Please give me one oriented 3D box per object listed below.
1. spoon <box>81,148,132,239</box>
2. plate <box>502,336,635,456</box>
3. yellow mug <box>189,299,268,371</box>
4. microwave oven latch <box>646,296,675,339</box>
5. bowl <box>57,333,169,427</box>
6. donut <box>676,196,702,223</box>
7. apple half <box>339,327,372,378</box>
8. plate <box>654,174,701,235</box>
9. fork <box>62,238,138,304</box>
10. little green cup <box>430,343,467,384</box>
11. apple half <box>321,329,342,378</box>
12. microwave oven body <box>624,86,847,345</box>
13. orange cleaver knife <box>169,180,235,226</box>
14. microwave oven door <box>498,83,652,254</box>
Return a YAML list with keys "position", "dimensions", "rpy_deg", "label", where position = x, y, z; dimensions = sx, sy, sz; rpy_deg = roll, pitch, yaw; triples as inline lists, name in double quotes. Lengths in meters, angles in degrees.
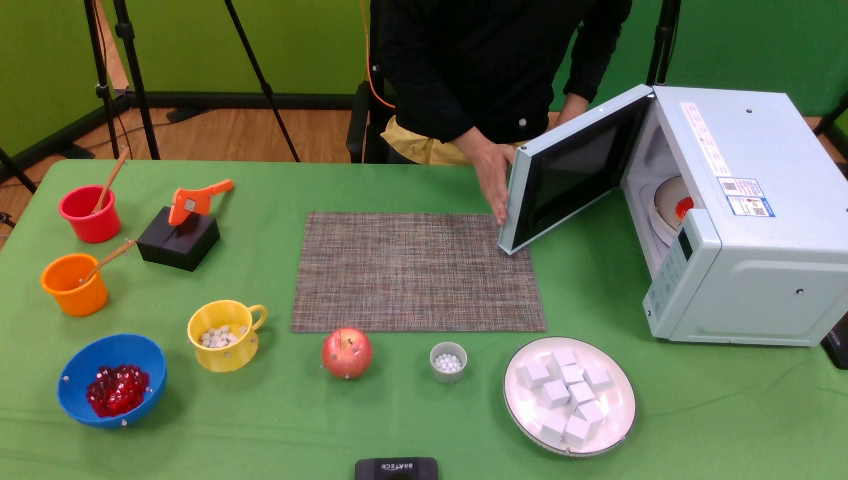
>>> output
- position: [-0.603, -0.089, 1.156]
  dimensions: [0.041, 0.022, 0.193]
  rpy_deg: [28, 94, 18]
  label: "spoon"
- position: [0.225, 0.248, 0.963]
  dimensions: [0.208, 0.039, 0.206]
  rpy_deg: [2, 46, -2]
  label: "plate"
- position: [-0.316, 0.148, 1.002]
  dimensions: [0.131, 0.064, 0.099]
  rpy_deg: [-33, 56, -31]
  label: "yellow mug"
- position: [0.412, 0.134, 1.061]
  dimensions: [0.030, 0.029, 0.078]
  rpy_deg: [4, 45, 1]
  label: "microwave oven latch"
- position: [-0.456, 0.223, 0.912]
  dimensions: [0.151, 0.077, 0.150]
  rpy_deg: [3, 45, -3]
  label: "bowl"
- position: [0.538, -0.048, 1.171]
  dimensions: [0.099, 0.048, 0.098]
  rpy_deg: [2, 42, -2]
  label: "donut"
- position: [-0.111, 0.182, 0.980]
  dimensions: [0.053, 0.075, 0.080]
  rpy_deg: [-2, 42, -12]
  label: "apple half"
- position: [0.555, -0.050, 1.185]
  dimensions: [0.209, 0.038, 0.208]
  rpy_deg: [1, 45, -1]
  label: "plate"
- position: [-0.547, 0.053, 1.018]
  dimensions: [0.207, 0.019, 0.028]
  rpy_deg: [-36, 41, 23]
  label: "fork"
- position: [0.039, 0.203, 0.993]
  dimensions: [0.061, 0.039, 0.061]
  rpy_deg: [2, 46, -2]
  label: "little green cup"
- position: [-0.149, 0.186, 0.972]
  dimensions: [0.033, 0.081, 0.080]
  rpy_deg: [-2, 46, -13]
  label: "apple half"
- position: [0.567, -0.053, 1.118]
  dimensions: [0.326, 0.261, 0.439]
  rpy_deg: [2, 45, -1]
  label: "microwave oven body"
- position: [-0.436, -0.076, 1.199]
  dimensions: [0.012, 0.077, 0.211]
  rpy_deg: [17, 17, 9]
  label: "orange cleaver knife"
- position: [0.296, -0.142, 1.179]
  dimensions: [0.356, 0.245, 0.039]
  rpy_deg: [-30, 55, -28]
  label: "microwave oven door"
